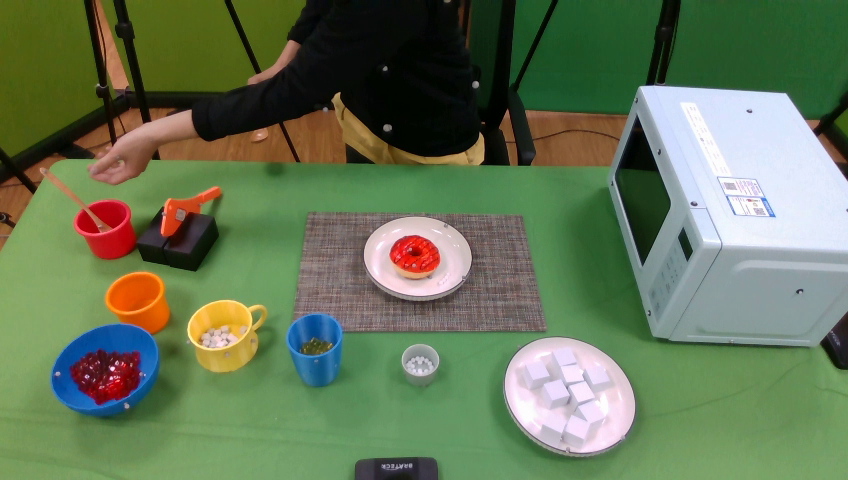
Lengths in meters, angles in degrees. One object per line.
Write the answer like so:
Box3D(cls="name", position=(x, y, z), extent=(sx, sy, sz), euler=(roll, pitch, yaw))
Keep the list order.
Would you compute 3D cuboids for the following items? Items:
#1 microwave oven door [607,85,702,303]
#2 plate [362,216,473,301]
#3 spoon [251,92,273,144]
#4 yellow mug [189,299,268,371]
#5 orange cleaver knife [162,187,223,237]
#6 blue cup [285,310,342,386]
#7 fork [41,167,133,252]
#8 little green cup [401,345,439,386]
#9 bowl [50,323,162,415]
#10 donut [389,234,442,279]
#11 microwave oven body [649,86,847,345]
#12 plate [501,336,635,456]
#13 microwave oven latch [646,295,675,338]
Box3D(cls="microwave oven door", position=(0.423, -0.094, 1.140), extent=(0.039, 0.245, 0.353), euler=(2, 46, -1))
Box3D(cls="plate", position=(-0.012, 0.038, 1.145), extent=(0.209, 0.038, 0.208), euler=(2, 46, -2))
Box3D(cls="spoon", position=(-0.356, -0.276, 1.355), extent=(0.041, 0.022, 0.192), euler=(-13, 50, 13))
Box3D(cls="yellow mug", position=(-0.316, 0.148, 1.002), extent=(0.131, 0.064, 0.099), euler=(-32, 56, -31))
Box3D(cls="orange cleaver knife", position=(-0.448, -0.059, 1.180), extent=(0.012, 0.077, 0.211), euler=(12, 17, 6))
Box3D(cls="blue cup", position=(-0.170, 0.179, 0.958), extent=(0.093, 0.101, 0.092), euler=(1, 44, -1))
Box3D(cls="fork", position=(-0.624, -0.056, 1.121), extent=(0.208, 0.018, 0.028), euler=(49, 52, -15))
Box3D(cls="little green cup", position=(-0.007, 0.206, 0.988), extent=(0.061, 0.039, 0.061), euler=(2, 46, -2))
Box3D(cls="bowl", position=(-0.472, 0.209, 0.924), extent=(0.151, 0.077, 0.150), euler=(2, 45, -2))
Box3D(cls="donut", position=(-0.016, 0.031, 1.135), extent=(0.099, 0.048, 0.098), euler=(4, 44, -4))
Box3D(cls="microwave oven body", position=(0.568, -0.053, 1.118), extent=(0.326, 0.261, 0.439), euler=(2, 45, -1))
Box3D(cls="plate", position=(0.225, 0.249, 0.964), extent=(0.208, 0.039, 0.206), euler=(2, 46, -2))
Box3D(cls="microwave oven latch", position=(0.412, 0.134, 1.061), extent=(0.030, 0.029, 0.078), euler=(4, 45, 1))
